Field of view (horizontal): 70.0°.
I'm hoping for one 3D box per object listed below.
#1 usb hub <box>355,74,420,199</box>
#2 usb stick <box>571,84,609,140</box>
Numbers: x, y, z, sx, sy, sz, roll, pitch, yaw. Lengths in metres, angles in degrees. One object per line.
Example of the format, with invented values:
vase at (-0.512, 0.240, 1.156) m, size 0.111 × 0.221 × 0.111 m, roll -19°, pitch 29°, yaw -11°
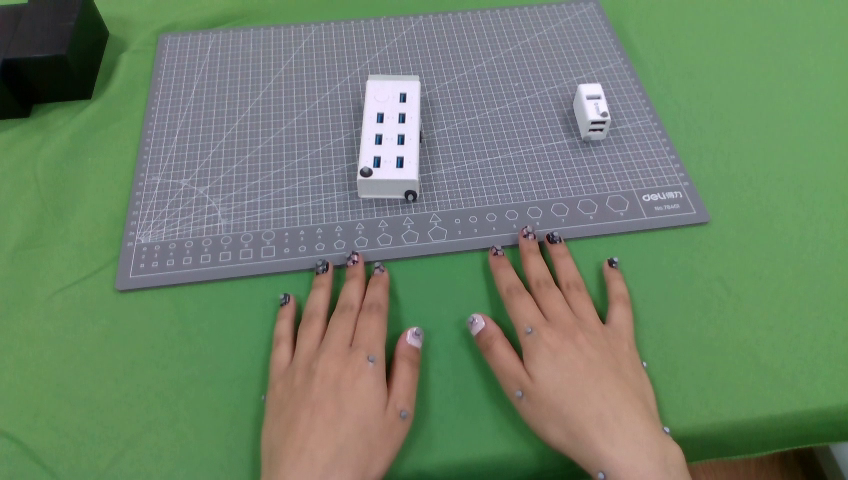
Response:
usb hub at (-0.029, -0.090, 0.510) m, size 0.049 × 0.025 × 0.124 m, roll 1°, pitch 55°, yaw 0°
usb stick at (0.143, -0.117, 0.530) m, size 0.021 × 0.027 × 0.058 m, roll -3°, pitch 52°, yaw 0°
